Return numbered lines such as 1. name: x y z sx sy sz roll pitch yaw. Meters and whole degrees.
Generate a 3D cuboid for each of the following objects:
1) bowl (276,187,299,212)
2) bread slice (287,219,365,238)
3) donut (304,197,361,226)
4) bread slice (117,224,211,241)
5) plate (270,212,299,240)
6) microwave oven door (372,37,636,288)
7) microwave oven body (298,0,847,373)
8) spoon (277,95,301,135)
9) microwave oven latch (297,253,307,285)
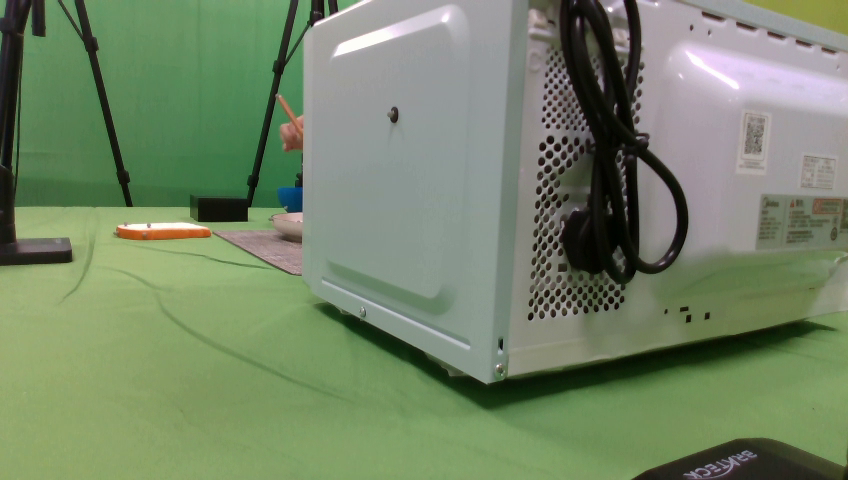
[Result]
1. bowl: -0.241 -0.073 1.302 0.151 0.077 0.151 2 7 0
2. bread slice: -0.170 -0.021 1.056 0.134 0.018 0.107 3 7 -6
3. donut: -0.159 -0.050 1.055 0.099 0.048 0.099 3 8 0
4. bread slice: -0.443 -0.015 1.022 0.132 0.019 0.104 -4 8 -45
5. plate: -0.162 -0.022 1.057 0.208 0.039 0.207 2 7 0
6. microwave oven door: 0.110 -0.080 0.686 0.358 0.243 0.039 -2 9 -33
7. microwave oven body: 0.151 -0.055 0.542 0.444 0.260 0.324 -2 7 -33
8. spoon: -0.207 -0.167 1.052 0.021 0.193 0.042 -24 0 21
9. microwave oven latch: -0.081 0.027 0.582 0.079 0.029 0.030 -1 7 -32
